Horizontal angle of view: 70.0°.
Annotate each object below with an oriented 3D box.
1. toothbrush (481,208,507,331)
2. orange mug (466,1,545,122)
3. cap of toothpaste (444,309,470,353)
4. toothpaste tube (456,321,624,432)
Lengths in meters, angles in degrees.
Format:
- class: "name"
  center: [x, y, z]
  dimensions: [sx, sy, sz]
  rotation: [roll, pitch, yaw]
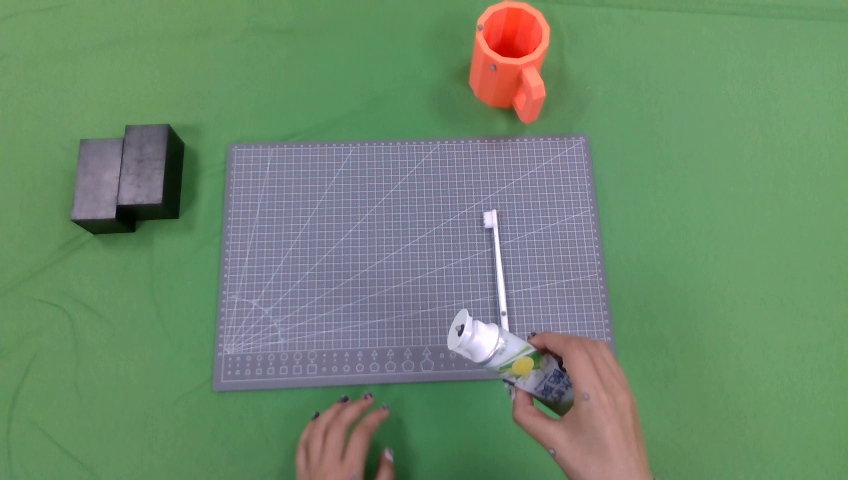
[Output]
- class: "toothbrush"
  center: [0.083, 0.048, 0.702]
  dimensions: [0.016, 0.014, 0.180]
  rotation: [-6, 73, 2]
- class: "orange mug"
  center: [0.105, -0.211, 0.739]
  dimensions: [0.083, 0.101, 0.125]
  rotation: [-23, 70, -7]
- class: "cap of toothpaste"
  center: [0.027, 0.073, 0.478]
  dimensions: [0.011, 0.037, 0.037]
  rotation: [21, 73, -11]
- class: "toothpaste tube"
  center: [0.094, 0.113, 0.506]
  dimensions: [0.166, 0.034, 0.055]
  rotation: [30, 108, -20]
